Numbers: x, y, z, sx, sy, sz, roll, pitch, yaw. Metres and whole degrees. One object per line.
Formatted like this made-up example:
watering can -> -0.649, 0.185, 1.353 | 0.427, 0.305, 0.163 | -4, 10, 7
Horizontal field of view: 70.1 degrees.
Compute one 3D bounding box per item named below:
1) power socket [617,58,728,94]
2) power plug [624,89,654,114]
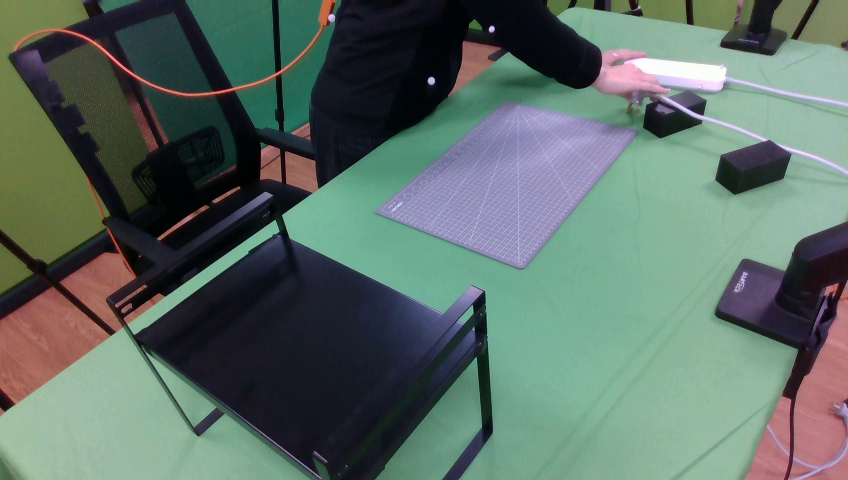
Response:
power socket -> 0.532, -0.355, 1.301 | 0.225, 0.033, 0.072 | 15, 46, 23
power plug -> 0.421, -0.274, 1.201 | 0.035, 0.052, 0.072 | 21, 16, -3
